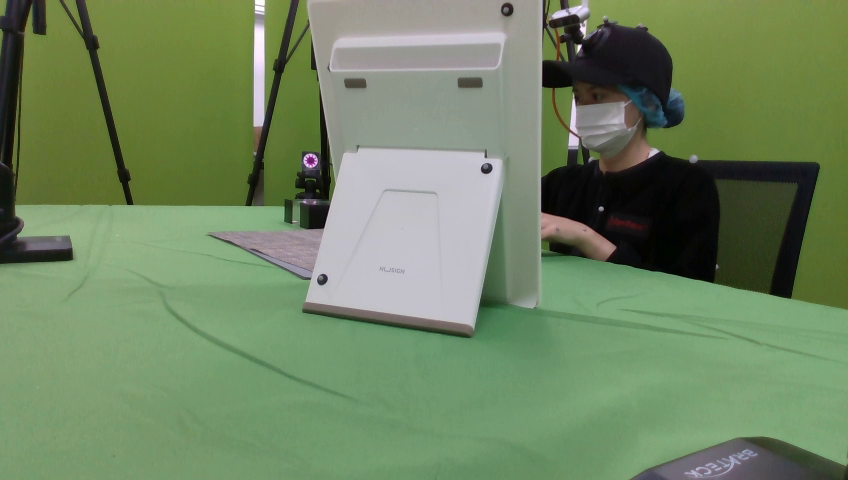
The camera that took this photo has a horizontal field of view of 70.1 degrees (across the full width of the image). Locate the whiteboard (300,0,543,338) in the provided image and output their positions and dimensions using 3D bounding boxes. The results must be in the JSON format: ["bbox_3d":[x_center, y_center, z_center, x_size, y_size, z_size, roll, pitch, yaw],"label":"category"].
[{"bbox_3d":[-0.020,-0.050,0.523,0.216,0.305,0.144,6,27,22],"label":"whiteboard"}]

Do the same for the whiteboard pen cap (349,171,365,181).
[{"bbox_3d":[-0.121,-0.116,1.100,0.018,0.018,0.033,6,7,23],"label":"whiteboard pen cap"}]

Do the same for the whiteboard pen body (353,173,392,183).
[{"bbox_3d":[-0.099,-0.119,1.156,0.017,0.017,0.141,6,10,24],"label":"whiteboard pen body"}]
